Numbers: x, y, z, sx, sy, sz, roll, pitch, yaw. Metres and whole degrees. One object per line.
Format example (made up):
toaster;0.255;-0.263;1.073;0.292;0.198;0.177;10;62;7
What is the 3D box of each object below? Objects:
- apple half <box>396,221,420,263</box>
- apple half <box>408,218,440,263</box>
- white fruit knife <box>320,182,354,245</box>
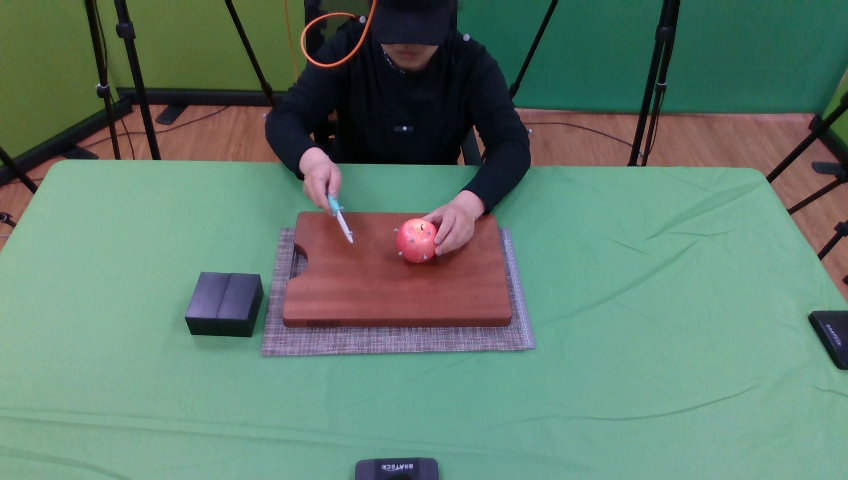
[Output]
apple half;-0.035;0.008;1.111;0.033;0.081;0.080;-12;48;-21
apple half;0.001;0.000;1.124;0.053;0.075;0.080;-12;44;-20
white fruit knife;-0.153;-0.051;1.079;0.016;0.027;0.206;-12;38;-19
